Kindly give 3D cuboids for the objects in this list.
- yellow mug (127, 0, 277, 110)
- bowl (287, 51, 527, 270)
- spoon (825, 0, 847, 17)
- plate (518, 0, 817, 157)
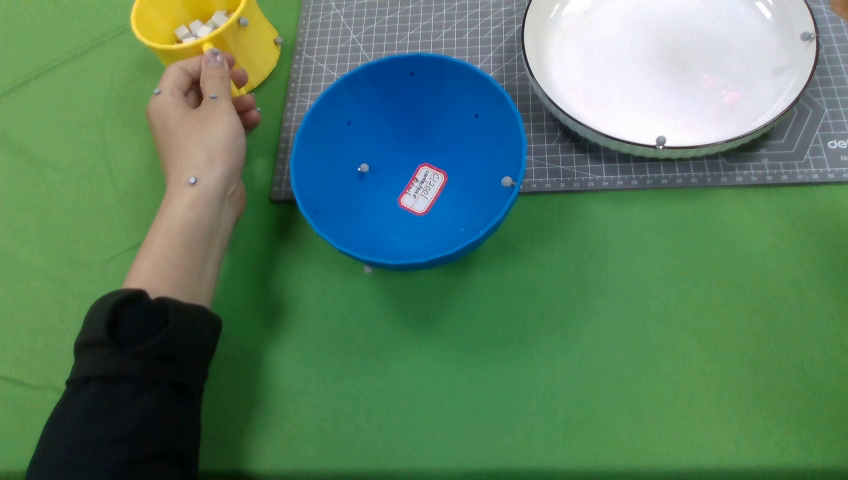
[{"bbox_3d":[-0.174,-0.160,0.495,0.100,0.064,0.129,-26,63,-4],"label":"yellow mug"},{"bbox_3d":[-0.006,-0.042,0.410,0.151,0.077,0.150,-3,69,7],"label":"bowl"},{"bbox_3d":[0.268,-0.158,0.252,0.022,0.193,0.041,-20,85,-28],"label":"spoon"},{"bbox_3d":[0.174,-0.147,0.455,0.209,0.038,0.207,-3,65,6],"label":"plate"}]
